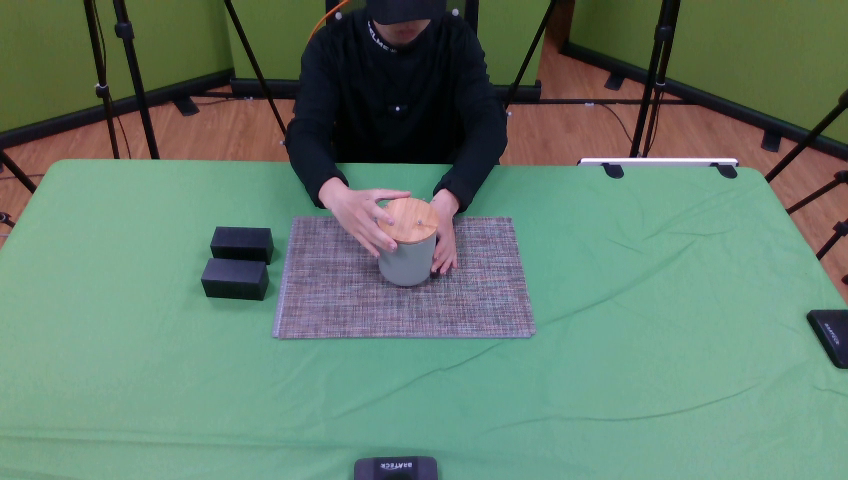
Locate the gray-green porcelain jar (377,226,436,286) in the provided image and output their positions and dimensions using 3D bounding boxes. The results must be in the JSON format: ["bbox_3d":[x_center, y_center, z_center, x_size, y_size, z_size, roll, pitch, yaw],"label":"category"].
[{"bbox_3d":[-0.033,0.014,1.106,0.106,0.127,0.105,2,46,-2],"label":"gray-green porcelain jar"}]

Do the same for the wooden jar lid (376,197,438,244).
[{"bbox_3d":[-0.029,-0.031,1.060,0.108,0.021,0.107,2,47,-1],"label":"wooden jar lid"}]
